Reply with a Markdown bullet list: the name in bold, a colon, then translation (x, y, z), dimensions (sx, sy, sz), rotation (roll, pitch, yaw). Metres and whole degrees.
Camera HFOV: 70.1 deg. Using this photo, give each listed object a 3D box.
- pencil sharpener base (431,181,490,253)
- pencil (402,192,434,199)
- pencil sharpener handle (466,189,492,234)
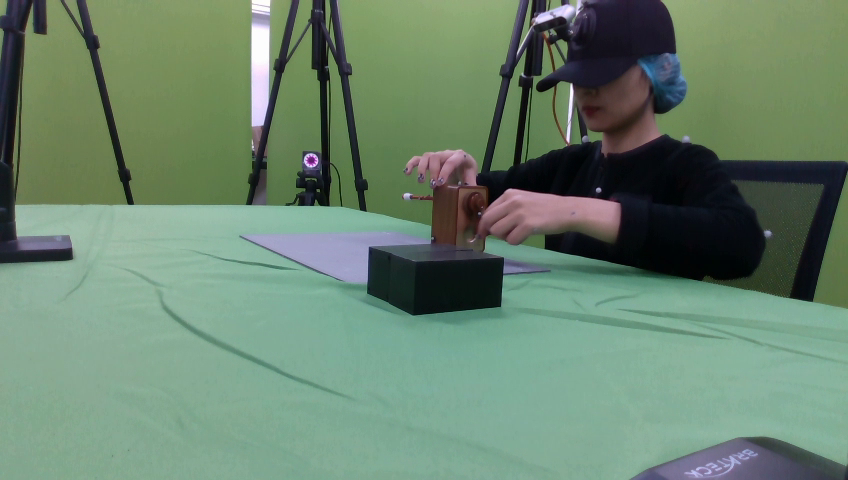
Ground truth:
- **pencil sharpener base**: translation (0.057, -0.036, 0.943), dimensions (0.062, 0.107, 0.076), rotation (-2, 9, -32)
- **pencil**: translation (0.015, -0.071, 1.011), dimensions (0.012, 0.012, 0.193), rotation (-2, 7, -32)
- **pencil sharpener handle**: translation (0.087, -0.042, 0.900), dimensions (0.036, 0.068, 0.030), rotation (-11, 14, -31)
